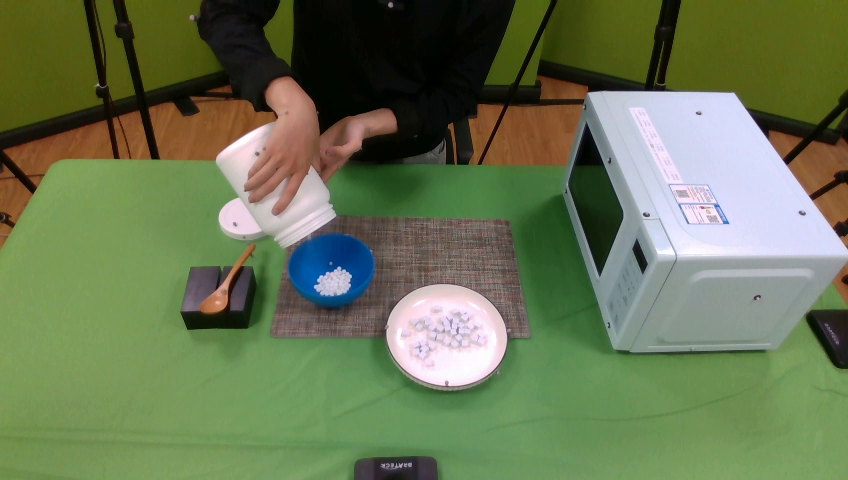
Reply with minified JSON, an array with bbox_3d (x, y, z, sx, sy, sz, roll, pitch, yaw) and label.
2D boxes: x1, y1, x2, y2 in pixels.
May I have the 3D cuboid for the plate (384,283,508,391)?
[{"bbox_3d":[0.036,0.166,1.029,0.209,0.038,0.208,2,49,-2],"label":"plate"}]

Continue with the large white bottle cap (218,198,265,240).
[{"bbox_3d":[-0.355,-0.045,1.220,0.115,0.018,0.114,2,45,-2],"label":"large white bottle cap"}]

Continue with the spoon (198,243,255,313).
[{"bbox_3d":[-0.334,0.062,1.052,0.041,0.022,0.193,9,40,7],"label":"spoon"}]

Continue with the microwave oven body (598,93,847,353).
[{"bbox_3d":[0.475,-0.041,1.109,0.326,0.261,0.438,-1,45,-4],"label":"microwave oven body"}]

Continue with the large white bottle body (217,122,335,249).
[{"bbox_3d":[-0.242,-0.089,1.017,0.130,0.130,0.185,-38,101,-33],"label":"large white bottle body"}]

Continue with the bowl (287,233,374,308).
[{"bbox_3d":[-0.164,0.068,1.078,0.151,0.077,0.150,3,46,-2],"label":"bowl"}]

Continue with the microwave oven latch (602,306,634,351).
[{"bbox_3d":[0.332,0.153,1.044,0.030,0.029,0.078,0,45,-4],"label":"microwave oven latch"}]

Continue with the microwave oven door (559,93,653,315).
[{"bbox_3d":[0.327,-0.074,1.123,0.039,0.245,0.353,-1,46,-5],"label":"microwave oven door"}]
